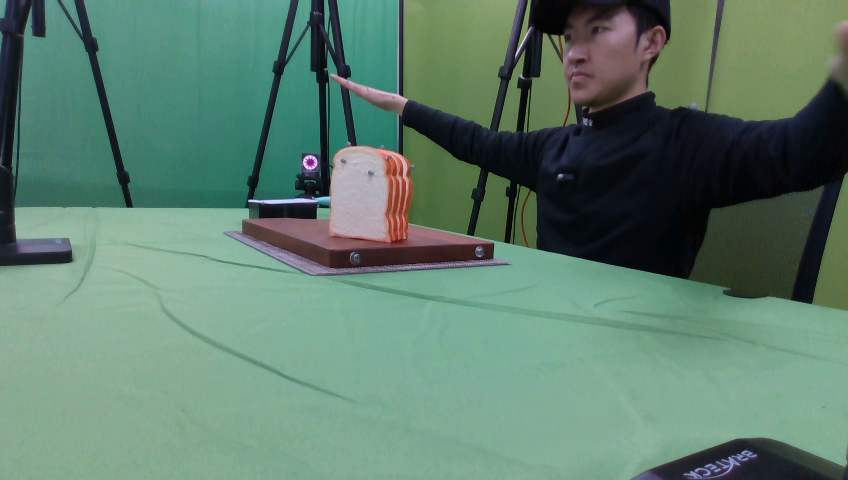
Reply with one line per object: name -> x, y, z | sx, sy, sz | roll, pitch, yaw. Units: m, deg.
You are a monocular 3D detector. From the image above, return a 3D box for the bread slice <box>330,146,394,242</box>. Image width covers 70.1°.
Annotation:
bread slice -> -0.090, -0.066, 0.859 | 0.106, 0.134, 0.018 | 3, 9, 29

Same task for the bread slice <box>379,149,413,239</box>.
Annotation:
bread slice -> -0.063, -0.070, 0.903 | 0.104, 0.131, 0.019 | 8, 4, 27

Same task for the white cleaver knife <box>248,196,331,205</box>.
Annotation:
white cleaver knife -> -0.257, -0.087, 1.306 | 0.065, 0.021, 0.288 | 7, 7, 30
